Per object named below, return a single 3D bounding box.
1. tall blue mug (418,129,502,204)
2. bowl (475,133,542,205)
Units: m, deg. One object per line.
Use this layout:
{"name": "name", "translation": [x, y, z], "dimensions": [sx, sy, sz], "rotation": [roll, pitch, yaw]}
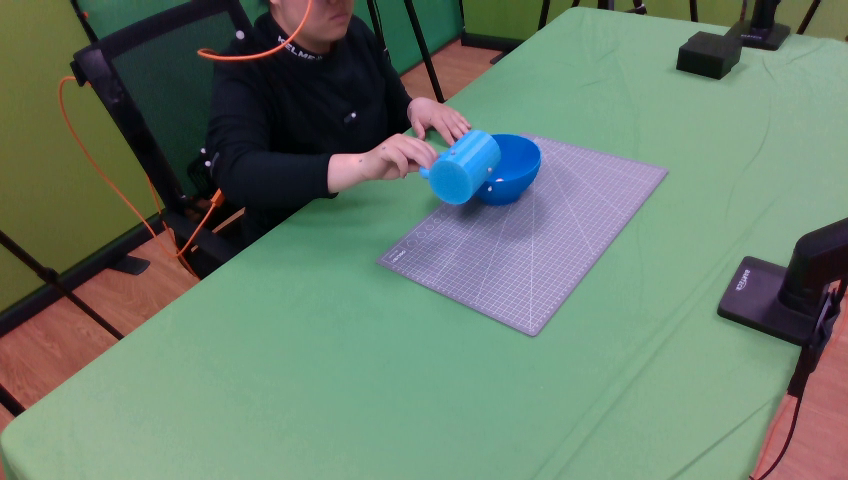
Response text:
{"name": "tall blue mug", "translation": [0.051, -0.121, 0.939], "dimensions": [0.107, 0.078, 0.108], "rotation": [29, 44, 12]}
{"name": "bowl", "translation": [0.129, -0.113, 1.045], "dimensions": [0.151, 0.077, 0.150], "rotation": [-5, 40, 5]}
